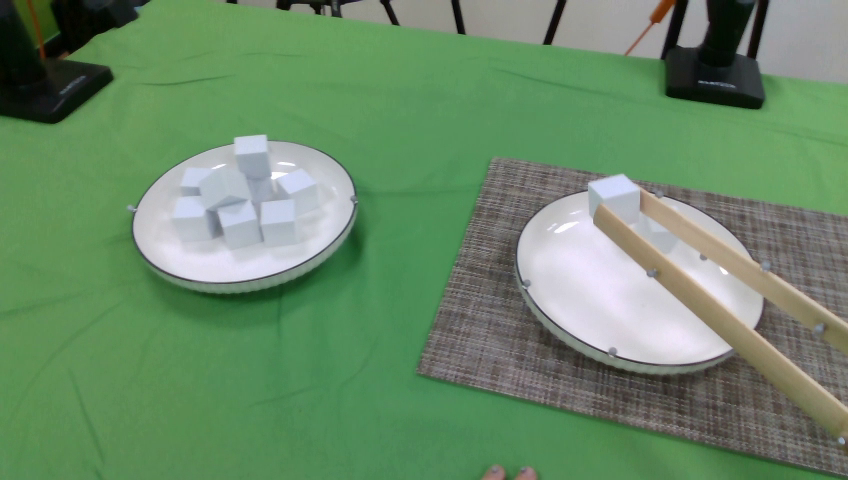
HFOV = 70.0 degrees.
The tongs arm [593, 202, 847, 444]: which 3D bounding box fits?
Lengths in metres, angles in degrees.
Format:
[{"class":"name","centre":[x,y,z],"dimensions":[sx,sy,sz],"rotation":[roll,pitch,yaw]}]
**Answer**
[{"class":"tongs arm","centre":[0.247,0.091,0.377],"dimensions":[0.028,0.028,0.383],"rotation":[-26,51,-23]}]

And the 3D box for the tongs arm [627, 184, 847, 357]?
[{"class":"tongs arm","centre":[0.268,0.080,0.385],"dimensions":[0.051,0.027,0.381],"rotation":[-32,53,-23]}]

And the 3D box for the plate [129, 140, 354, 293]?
[{"class":"plate","centre":[-0.172,-0.023,0.592],"dimensions":[0.209,0.038,0.207],"rotation":[1,44,0]}]

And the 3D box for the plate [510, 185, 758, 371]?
[{"class":"plate","centre":[0.178,0.031,0.535],"dimensions":[0.208,0.039,0.205],"rotation":[0,45,0]}]
